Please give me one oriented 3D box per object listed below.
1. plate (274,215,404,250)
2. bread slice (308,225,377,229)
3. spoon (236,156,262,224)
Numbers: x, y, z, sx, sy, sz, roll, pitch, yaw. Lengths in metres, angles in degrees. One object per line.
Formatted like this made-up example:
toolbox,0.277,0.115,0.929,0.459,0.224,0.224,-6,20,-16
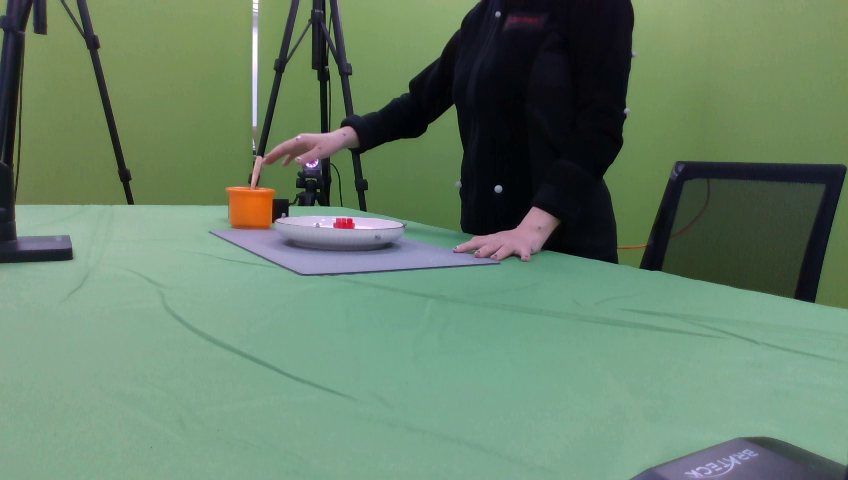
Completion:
plate,-0.136,-0.013,0.981,0.209,0.038,0.209,2,7,0
bread slice,-0.134,-0.011,0.974,0.135,0.018,0.106,-3,8,-33
spoon,-0.338,-0.102,1.197,0.042,0.193,0.021,2,-37,-4
